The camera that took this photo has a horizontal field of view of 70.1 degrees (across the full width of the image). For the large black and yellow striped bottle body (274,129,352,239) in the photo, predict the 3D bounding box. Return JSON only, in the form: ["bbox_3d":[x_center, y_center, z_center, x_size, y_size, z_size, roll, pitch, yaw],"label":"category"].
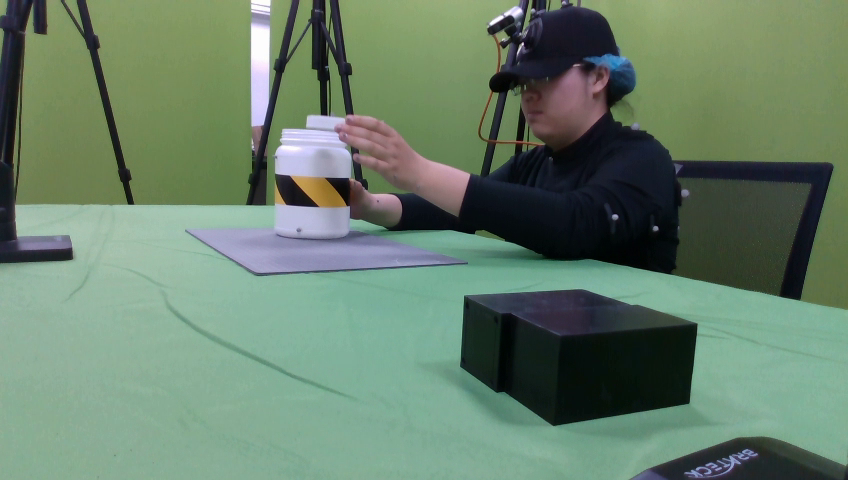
[{"bbox_3d":[-0.194,-0.099,1.058,0.131,0.184,0.130,3,8,0],"label":"large black and yellow striped bottle body"}]

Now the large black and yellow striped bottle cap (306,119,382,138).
[{"bbox_3d":[-0.122,-0.170,0.926,0.115,0.019,0.115,5,5,0],"label":"large black and yellow striped bottle cap"}]
